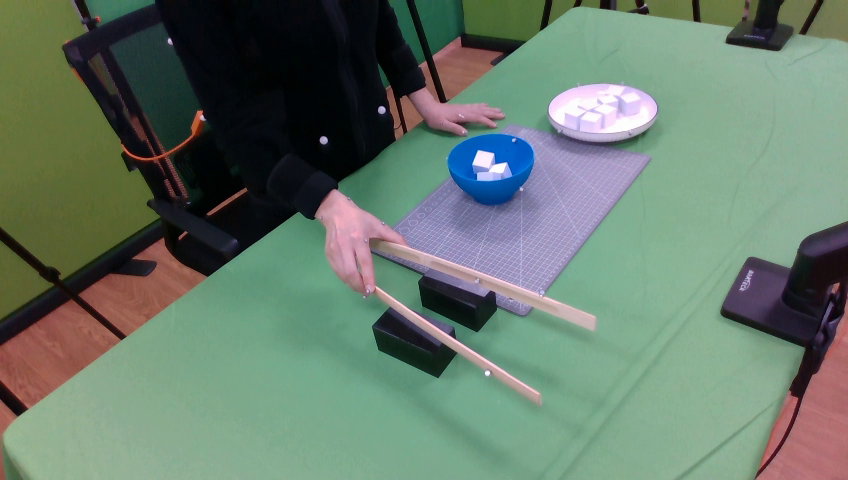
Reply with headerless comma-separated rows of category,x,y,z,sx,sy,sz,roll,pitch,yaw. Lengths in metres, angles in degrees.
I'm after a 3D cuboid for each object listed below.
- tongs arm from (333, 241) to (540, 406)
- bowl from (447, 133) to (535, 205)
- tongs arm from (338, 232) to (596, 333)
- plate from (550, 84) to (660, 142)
tongs arm,-0.003,0.096,0.780,0.028,0.028,0.384,-40,49,-23
bowl,0.119,-0.114,1.050,0.151,0.077,0.150,-5,40,5
tongs arm,0.041,0.056,0.817,0.382,0.026,0.051,22,52,30
plate,0.355,-0.246,1.195,0.207,0.039,0.206,-5,39,5
